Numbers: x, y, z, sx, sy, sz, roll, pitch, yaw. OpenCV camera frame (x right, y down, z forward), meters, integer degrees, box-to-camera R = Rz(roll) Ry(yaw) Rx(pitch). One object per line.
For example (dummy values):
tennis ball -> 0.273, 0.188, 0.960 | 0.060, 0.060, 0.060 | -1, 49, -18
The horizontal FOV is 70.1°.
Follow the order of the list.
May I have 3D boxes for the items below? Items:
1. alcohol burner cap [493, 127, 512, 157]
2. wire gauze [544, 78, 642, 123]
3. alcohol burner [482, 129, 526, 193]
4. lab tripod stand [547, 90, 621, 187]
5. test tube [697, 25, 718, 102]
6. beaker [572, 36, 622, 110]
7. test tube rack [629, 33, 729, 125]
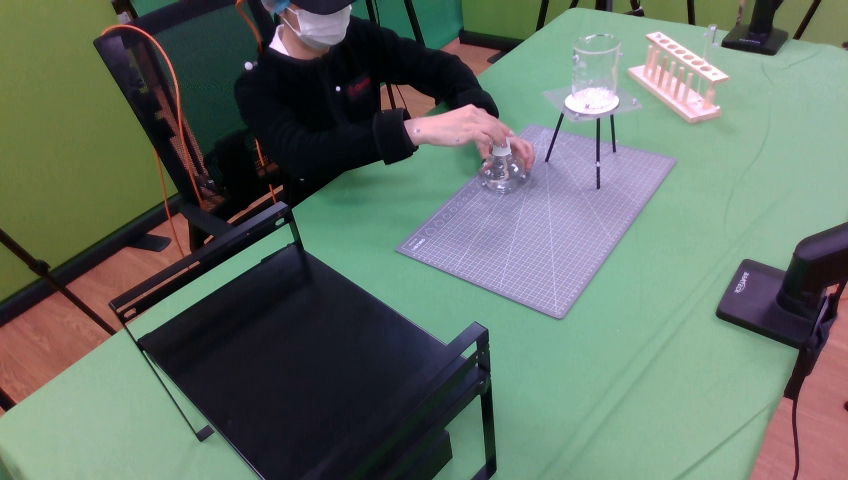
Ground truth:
alcohol burner cap -> 0.132, -0.169, 1.030 | 0.034, 0.048, 0.033 | -6, 36, 5
wire gauze -> 0.282, -0.234, 1.021 | 0.125, 0.011, 0.120 | -17, 38, -4
alcohol burner -> 0.138, -0.142, 1.052 | 0.078, 0.119, 0.077 | -5, 42, 5
lab tripod stand -> 0.289, -0.184, 1.062 | 0.148, 0.132, 0.147 | -6, 41, 6
test tube -> 0.546, -0.337, 1.166 | 0.017, 0.151, 0.017 | -5, 36, 4
beaker -> 0.279, -0.274, 0.992 | 0.074, 0.101, 0.083 | -14, 40, -5
test tube rack -> 0.516, -0.337, 1.247 | 0.067, 0.085, 0.240 | -14, 41, -7
